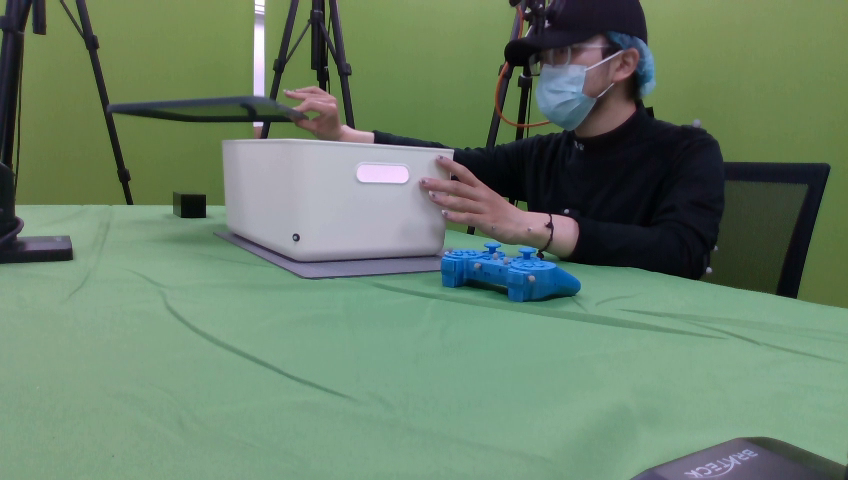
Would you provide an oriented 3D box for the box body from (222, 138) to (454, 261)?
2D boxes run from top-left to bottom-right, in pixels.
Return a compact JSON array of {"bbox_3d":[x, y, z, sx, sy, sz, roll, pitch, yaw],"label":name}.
[{"bbox_3d":[-0.151,-0.074,0.963,0.255,0.160,0.362,-2,9,-33],"label":"box body"}]

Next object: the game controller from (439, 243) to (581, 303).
[{"bbox_3d":[0.090,0.033,0.685,0.154,0.051,0.097,8,13,42],"label":"game controller"}]

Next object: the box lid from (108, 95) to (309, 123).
[{"bbox_3d":[-0.377,-0.238,1.130,0.263,0.015,0.371,-3,7,1],"label":"box lid"}]
